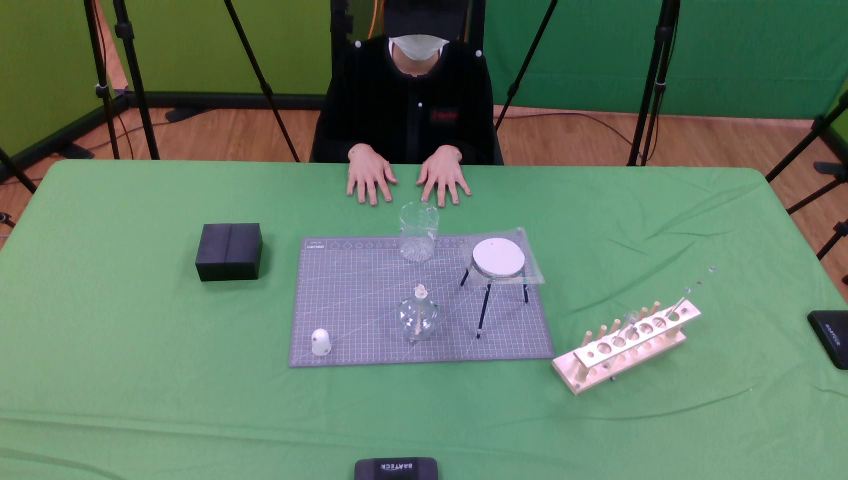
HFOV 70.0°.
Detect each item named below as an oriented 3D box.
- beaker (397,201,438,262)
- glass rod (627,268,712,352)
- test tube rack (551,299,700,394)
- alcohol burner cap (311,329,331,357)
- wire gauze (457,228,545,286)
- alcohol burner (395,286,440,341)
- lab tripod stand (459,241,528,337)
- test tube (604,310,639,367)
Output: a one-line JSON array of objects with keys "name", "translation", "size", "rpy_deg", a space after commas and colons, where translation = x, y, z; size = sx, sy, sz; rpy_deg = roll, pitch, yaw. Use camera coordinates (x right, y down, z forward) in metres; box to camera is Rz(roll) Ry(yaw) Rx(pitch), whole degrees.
[{"name": "beaker", "translation": [-0.012, -0.011, 1.152], "size": [0.083, 0.101, 0.074], "rpy_deg": [35, 53, 25]}, {"name": "glass rod", "translation": [0.400, 0.117, 0.995], "size": [0.008, 0.200, 0.008], "rpy_deg": [26, 29, -15]}, {"name": "test tube rack", "translation": [0.339, 0.166, 1.021], "size": [0.242, 0.085, 0.066], "rpy_deg": [-19, 50, -21]}, {"name": "alcohol burner cap", "translation": [-0.173, 0.168, 1.005], "size": [0.034, 0.048, 0.033], "rpy_deg": [2, 46, -2]}, {"name": "wire gauze", "translation": [0.126, 0.028, 1.006], "size": [0.125, 0.011, 0.120], "rpy_deg": [-4, 46, -9]}, {"name": "alcohol burner", "translation": [-0.010, 0.116, 1.018], "size": [0.078, 0.119, 0.077], "rpy_deg": [3, 47, -3]}, {"name": "lab tripod stand", "translation": [0.122, 0.075, 1.054], "size": [0.148, 0.132, 0.147], "rpy_deg": [3, 44, -3]}, {"name": "test tube", "translation": [0.310, 0.158, 0.957], "size": [0.017, 0.151, 0.017], "rpy_deg": [1, 49, -1]}]
